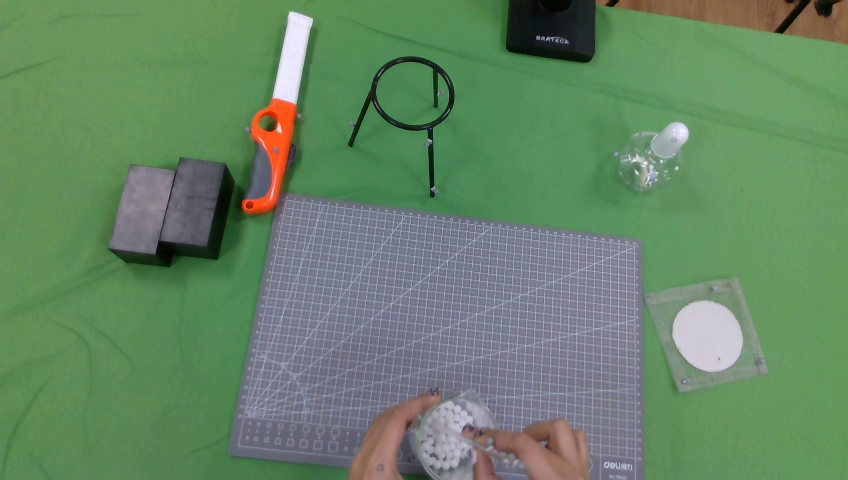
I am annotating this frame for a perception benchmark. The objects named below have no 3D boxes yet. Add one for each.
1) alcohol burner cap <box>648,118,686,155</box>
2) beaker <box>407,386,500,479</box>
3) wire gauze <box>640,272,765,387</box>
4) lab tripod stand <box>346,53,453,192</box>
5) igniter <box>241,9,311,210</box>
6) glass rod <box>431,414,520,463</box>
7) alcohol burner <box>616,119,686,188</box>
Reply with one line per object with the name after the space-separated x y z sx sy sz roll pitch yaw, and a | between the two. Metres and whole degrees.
0.284 -0.122 0.700 0.034 0.048 0.033 1 76 -2 | alcohol burner cap
0.024 0.178 0.568 0.074 0.100 0.083 19 74 -4 | beaker
0.337 0.106 0.728 0.125 0.011 0.120 -10 74 -7 | wire gauze
-0.019 -0.144 0.702 0.148 0.132 0.147 2 71 -4 | lab tripod stand
-0.178 -0.163 0.746 0.057 0.025 0.275 13 71 -18 | igniter
0.037 0.164 0.511 0.008 0.199 0.008 2 82 -16 | glass rod
0.280 -0.111 0.734 0.078 0.119 0.077 2 70 -5 | alcohol burner
